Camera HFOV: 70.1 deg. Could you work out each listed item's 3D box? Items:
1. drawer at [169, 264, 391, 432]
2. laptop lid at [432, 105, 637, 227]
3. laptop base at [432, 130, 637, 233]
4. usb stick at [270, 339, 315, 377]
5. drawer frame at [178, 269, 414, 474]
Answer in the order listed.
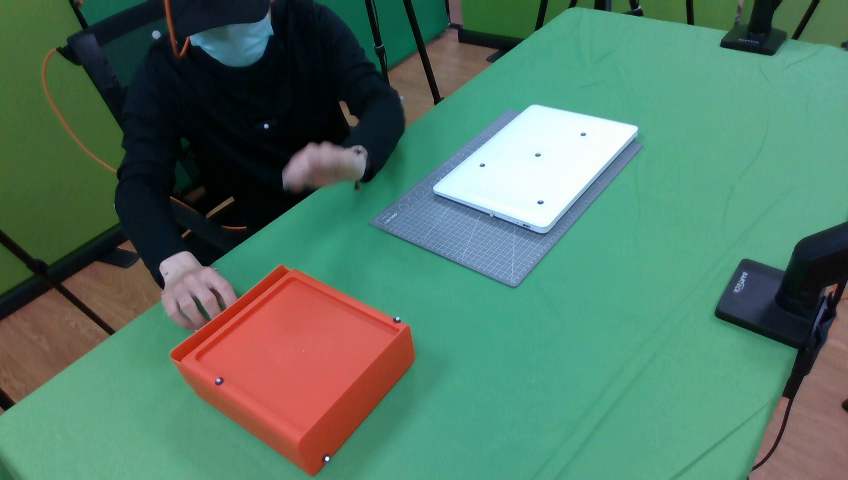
[{"bbox_3d":[-0.179,0.145,0.783,0.210,0.073,0.195,22,47,30],"label":"drawer"},{"bbox_3d":[0.207,-0.152,1.105,0.239,0.013,0.358,23,49,34],"label":"laptop lid"},{"bbox_3d":[0.210,-0.142,1.111,0.233,0.023,0.355,21,47,34],"label":"laptop base"},{"bbox_3d":[-0.176,0.157,0.797,0.059,0.027,0.021,-29,44,-24],"label":"usb stick"},{"bbox_3d":[-0.157,0.152,0.769,0.212,0.083,0.202,22,47,29],"label":"drawer frame"}]
